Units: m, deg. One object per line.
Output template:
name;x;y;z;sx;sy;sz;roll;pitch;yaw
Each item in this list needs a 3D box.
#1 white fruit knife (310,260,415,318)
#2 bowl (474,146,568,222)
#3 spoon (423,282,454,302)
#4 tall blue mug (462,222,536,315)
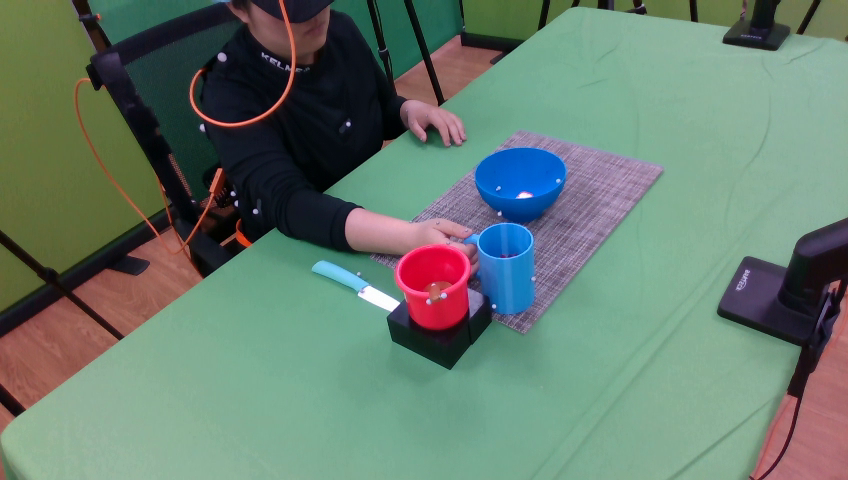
white fruit knife;-0.094;0.074;0.920;0.206;0.016;0.027;24;78;30
bowl;0.161;-0.083;1.001;0.151;0.077;0.150;-5;40;5
spoon;0.015;0.062;0.733;0.041;0.021;0.194;-5;-4;3
tall blue mug;0.101;0.040;0.842;0.107;0.108;0.077;2;42;13
